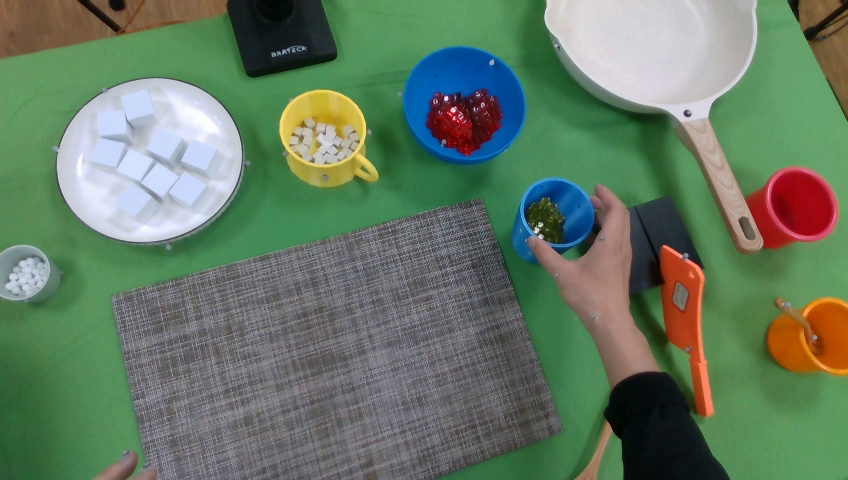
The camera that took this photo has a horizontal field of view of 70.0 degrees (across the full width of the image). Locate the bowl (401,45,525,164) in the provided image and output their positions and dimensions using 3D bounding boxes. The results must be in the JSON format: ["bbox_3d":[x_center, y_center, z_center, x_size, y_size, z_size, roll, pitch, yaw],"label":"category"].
[{"bbox_3d":[0.043,-0.156,0.758,0.152,0.077,0.150,2,76,-7],"label":"bowl"}]

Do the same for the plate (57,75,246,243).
[{"bbox_3d":[-0.316,-0.094,0.717,0.208,0.039,0.206,2,75,-6],"label":"plate"}]

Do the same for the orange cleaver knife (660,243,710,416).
[{"bbox_3d":[0.309,0.107,0.720,0.012,0.076,0.212,-16,107,-10],"label":"orange cleaver knife"}]

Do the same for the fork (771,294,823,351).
[{"bbox_3d":[0.436,0.097,0.703,0.209,0.018,0.028,29,68,-44],"label":"fork"}]

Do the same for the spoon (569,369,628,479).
[{"bbox_3d":[0.203,0.237,0.703,0.041,0.022,0.193,25,73,13],"label":"spoon"}]

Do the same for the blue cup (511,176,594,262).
[{"bbox_3d":[0.143,-0.016,0.719,0.093,0.100,0.092,1,71,-4],"label":"blue cup"}]

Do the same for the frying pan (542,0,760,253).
[{"bbox_3d":[0.321,-0.206,0.791,0.307,0.103,0.484,-11,69,-9],"label":"frying pan"}]

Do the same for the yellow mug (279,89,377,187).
[{"bbox_3d":[-0.109,-0.113,0.734,0.131,0.064,0.099,36,74,2],"label":"yellow mug"}]

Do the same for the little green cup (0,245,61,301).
[{"bbox_3d":[-0.435,0.039,0.666,0.062,0.039,0.061,2,76,-7],"label":"little green cup"}]
